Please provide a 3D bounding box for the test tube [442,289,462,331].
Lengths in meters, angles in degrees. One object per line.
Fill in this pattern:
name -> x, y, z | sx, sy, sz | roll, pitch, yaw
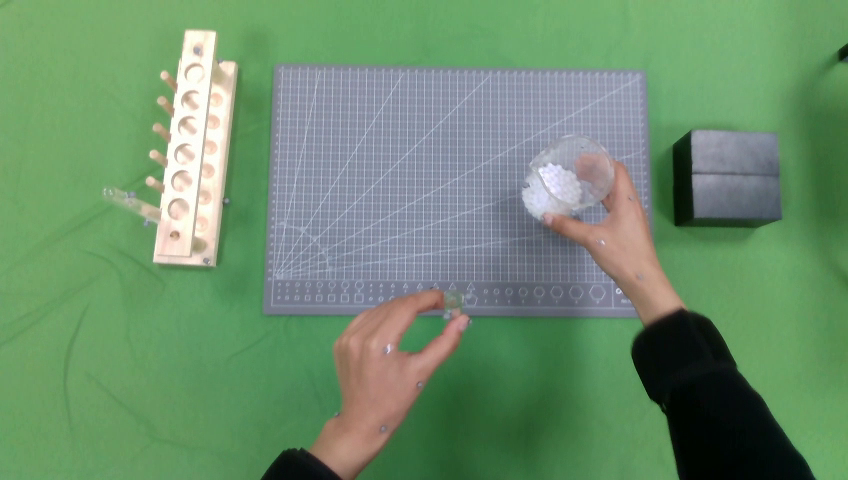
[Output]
test tube -> 0.024, 0.065, 0.540 | 0.017, 0.151, 0.017 | 0, 74, 2

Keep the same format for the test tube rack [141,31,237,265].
test tube rack -> -0.263, -0.099, 0.669 | 0.067, 0.085, 0.241 | 4, 81, -1

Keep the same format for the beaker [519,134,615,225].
beaker -> 0.141, -0.058, 0.632 | 0.084, 0.100, 0.073 | 8, 79, -3

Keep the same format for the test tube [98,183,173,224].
test tube -> -0.288, -0.034, 0.613 | 0.017, 0.151, 0.017 | 0, 81, -2
